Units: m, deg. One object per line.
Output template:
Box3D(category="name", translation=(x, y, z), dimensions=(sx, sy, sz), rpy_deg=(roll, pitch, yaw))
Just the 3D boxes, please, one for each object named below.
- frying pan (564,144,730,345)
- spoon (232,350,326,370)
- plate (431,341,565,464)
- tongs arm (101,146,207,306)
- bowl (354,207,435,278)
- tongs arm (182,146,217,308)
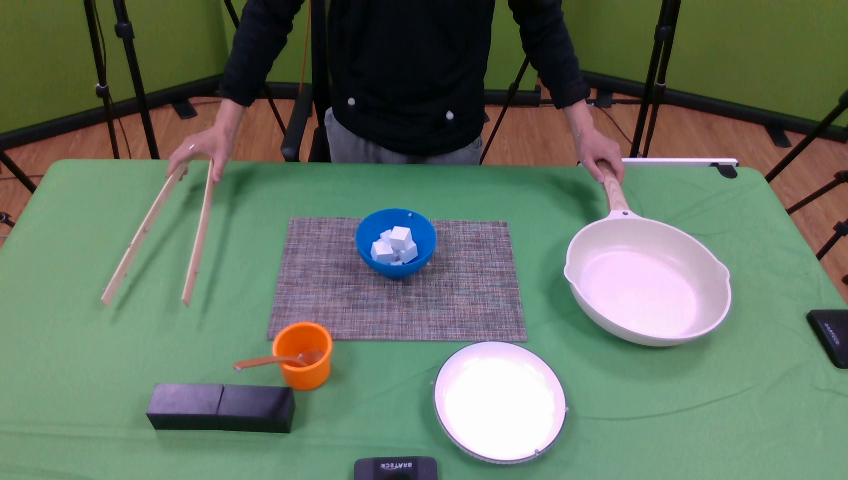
Box3D(category="frying pan", translation=(0.396, -0.008, 1.179), dimensions=(0.307, 0.103, 0.484), rpy_deg=(0, 55, -5))
Box3D(category="spoon", translation=(-0.216, 0.182, 0.919), dimensions=(0.041, 0.194, 0.021), rpy_deg=(44, 102, 27))
Box3D(category="plate", translation=(0.114, 0.255, 0.951), dimensions=(0.208, 0.039, 0.206), rpy_deg=(3, 46, -2))
Box3D(category="tongs arm", translation=(-0.499, -0.039, 1.143), dimensions=(0.051, 0.027, 0.382), rpy_deg=(3, 51, 7))
Box3D(category="bowl", translation=(-0.055, 0.018, 1.132), dimensions=(0.151, 0.077, 0.150), rpy_deg=(2, 46, -2))
Box3D(category="tongs arm", translation=(-0.422, -0.039, 1.139), dimensions=(0.028, 0.028, 0.385), rpy_deg=(-9, 51, 2))
